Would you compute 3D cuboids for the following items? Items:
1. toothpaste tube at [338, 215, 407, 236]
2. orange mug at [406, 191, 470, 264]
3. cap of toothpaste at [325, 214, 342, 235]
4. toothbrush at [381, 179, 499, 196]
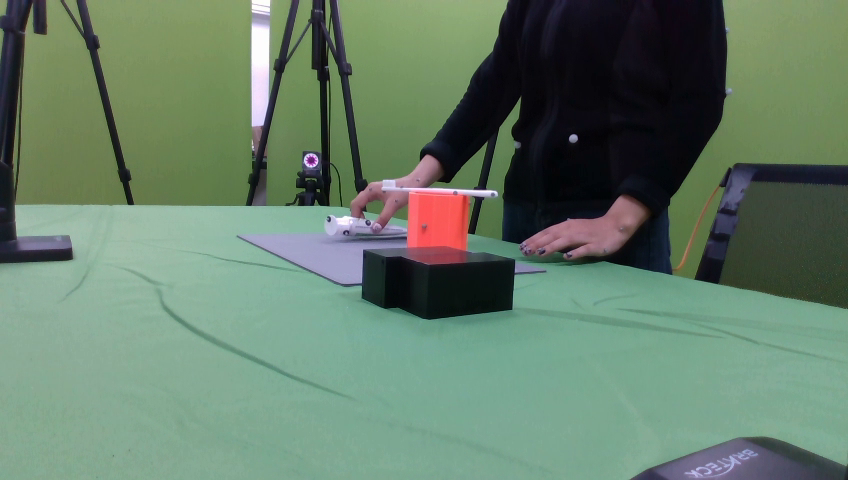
[{"bbox_3d":[-0.083,-0.022,1.053,0.166,0.034,0.055,3,7,-36],"label":"toothpaste tube"},{"bbox_3d":[0.027,-0.023,0.866,0.083,0.101,0.126,6,12,24],"label":"orange mug"},{"bbox_3d":[-0.151,-0.026,1.005,0.037,0.037,0.011,8,10,41],"label":"cap of toothpaste"},{"bbox_3d":[0.019,-0.073,0.841,0.181,0.016,0.014,6,4,27],"label":"toothbrush"}]
